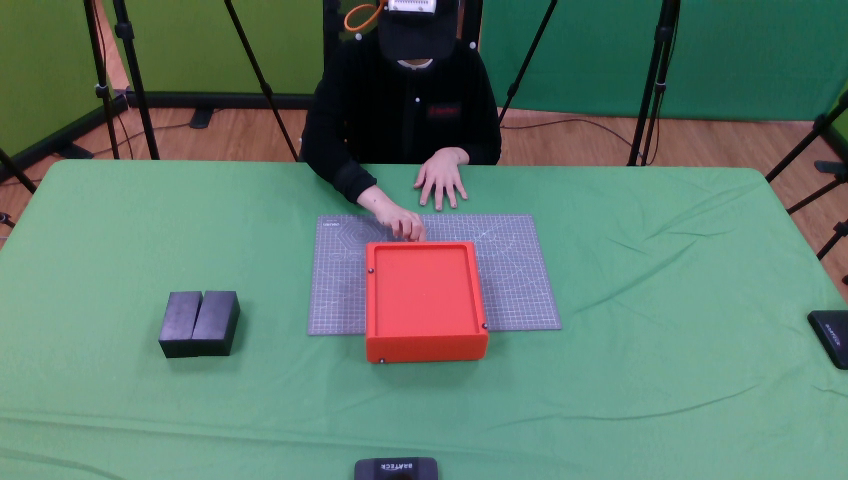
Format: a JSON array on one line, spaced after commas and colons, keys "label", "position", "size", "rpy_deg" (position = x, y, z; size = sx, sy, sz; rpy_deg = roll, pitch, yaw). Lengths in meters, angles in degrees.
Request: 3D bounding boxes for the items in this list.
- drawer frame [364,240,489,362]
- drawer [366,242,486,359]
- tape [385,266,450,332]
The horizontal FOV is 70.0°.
[{"label": "drawer frame", "position": [-0.002, 0.101, 1.054], "size": [0.202, 0.083, 0.212], "rpy_deg": [-1, 47, -5]}, {"label": "drawer", "position": [-0.002, 0.101, 1.057], "size": [0.195, 0.073, 0.210], "rpy_deg": [0, 47, -5]}, {"label": "tape", "position": [-0.010, 0.103, 1.062], "size": [0.117, 0.053, 0.116], "rpy_deg": [2, 46, -2]}]
